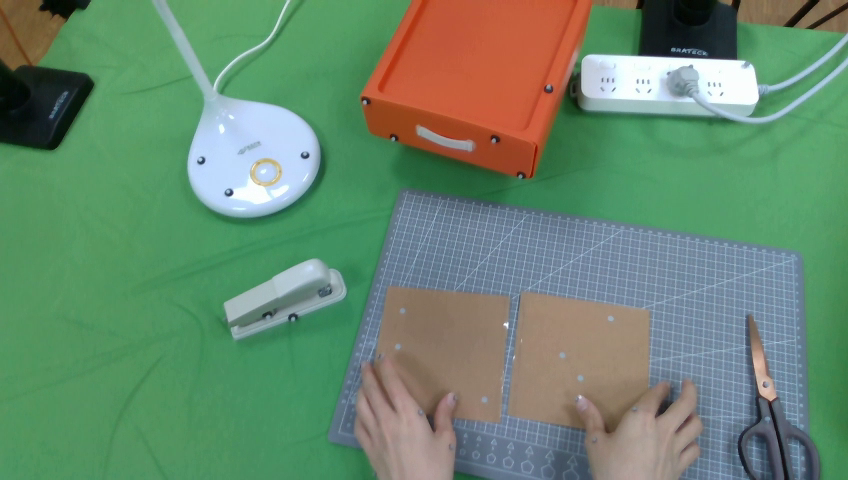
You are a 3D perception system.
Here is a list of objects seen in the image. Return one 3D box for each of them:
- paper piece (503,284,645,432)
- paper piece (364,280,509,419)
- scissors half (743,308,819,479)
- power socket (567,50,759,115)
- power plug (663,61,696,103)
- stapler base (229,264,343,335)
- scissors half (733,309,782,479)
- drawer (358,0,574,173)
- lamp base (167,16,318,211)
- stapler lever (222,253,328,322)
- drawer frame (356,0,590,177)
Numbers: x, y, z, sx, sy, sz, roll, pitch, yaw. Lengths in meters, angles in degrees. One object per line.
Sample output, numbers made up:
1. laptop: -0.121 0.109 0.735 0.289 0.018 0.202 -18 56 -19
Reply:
1. paper piece: 0.155 0.116 0.616 0.135 0.004 0.135 8 64 8
2. paper piece: 0.015 0.109 0.629 0.136 0.009 0.137 4 66 10
3. scissors half: 0.338 0.147 0.587 0.040 0.013 0.173 -6 62 -1
4. power socket: 0.294 -0.195 0.749 0.226 0.033 0.071 5 65 6
5. power plug: 0.299 -0.179 0.715 0.035 0.053 0.072 15 66 10
6. stapler base: -0.154 0.060 0.658 0.130 0.024 0.041 -22 62 -6
7. scissors half: 0.318 0.147 0.587 0.040 0.013 0.174 11 62 2
8. drawer: 0.058 -0.199 0.689 0.194 0.074 0.210 18 66 13
9. lamp base: -0.223 -0.147 0.675 0.160 0.182 0.177 -41 65 -16
10. stapler lever: -0.157 0.049 0.634 0.118 0.040 0.026 -22 61 -5
11. drawer frame: 0.059 -0.203 0.694 0.201 0.083 0.212 18 67 12
